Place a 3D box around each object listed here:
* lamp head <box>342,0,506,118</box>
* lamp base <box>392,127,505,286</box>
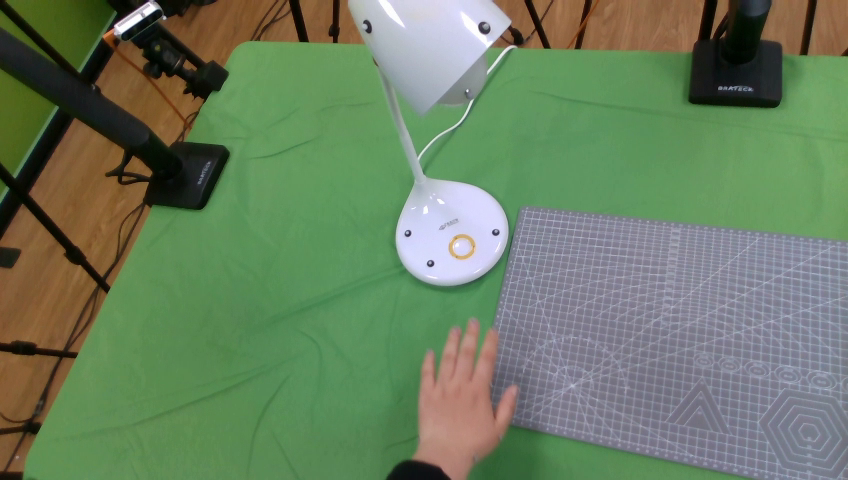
[{"bbox_3d":[-0.010,-0.182,0.515,0.123,0.112,0.112,42,76,-6],"label":"lamp head"},{"bbox_3d":[0.009,-0.054,0.785,0.160,0.182,0.177,-37,57,-7],"label":"lamp base"}]
